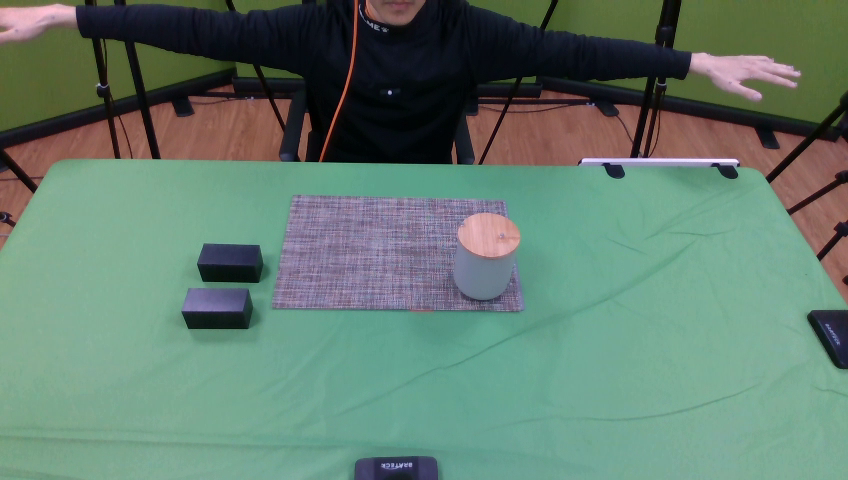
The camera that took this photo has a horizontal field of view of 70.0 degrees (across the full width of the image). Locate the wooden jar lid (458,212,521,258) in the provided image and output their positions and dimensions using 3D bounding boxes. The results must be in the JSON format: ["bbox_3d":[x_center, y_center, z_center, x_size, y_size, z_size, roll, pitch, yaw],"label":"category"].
[{"bbox_3d":[0.112,-0.006,1.048,0.108,0.021,0.107,1,45,0],"label":"wooden jar lid"}]

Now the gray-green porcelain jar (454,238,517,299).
[{"bbox_3d":[0.109,0.036,1.092,0.106,0.127,0.105,2,47,-2],"label":"gray-green porcelain jar"}]
